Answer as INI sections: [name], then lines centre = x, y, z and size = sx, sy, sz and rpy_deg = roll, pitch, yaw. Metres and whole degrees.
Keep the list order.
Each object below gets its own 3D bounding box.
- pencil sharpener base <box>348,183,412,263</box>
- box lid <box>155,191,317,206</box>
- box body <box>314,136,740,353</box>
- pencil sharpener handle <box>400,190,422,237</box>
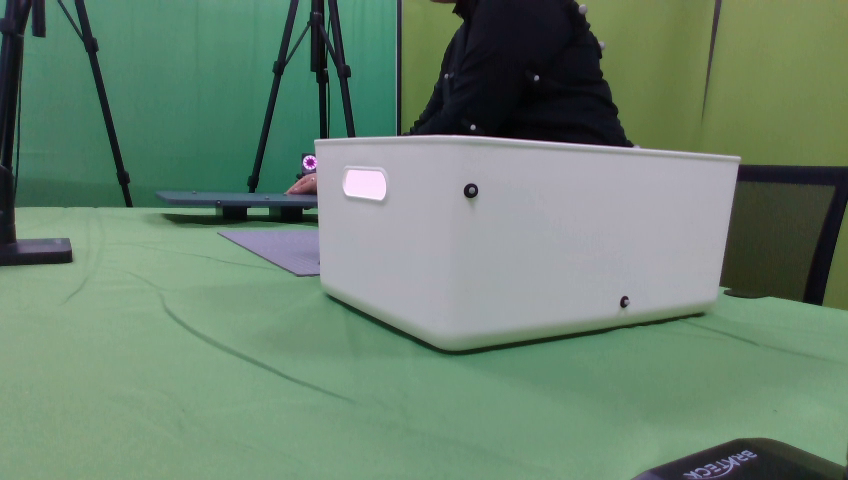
[pencil sharpener base]
centre = -0.059, -0.024, 0.845
size = 0.077, 0.107, 0.061
rpy_deg = -1, 7, -30
[box lid]
centre = -0.387, -0.091, 1.340
size = 0.373, 0.015, 0.262
rpy_deg = -1, 8, -30
[box body]
centre = 0.098, -0.012, 0.605
size = 0.366, 0.160, 0.253
rpy_deg = -2, 8, -33
[pencil sharpener handle]
centre = -0.015, -0.037, 0.872
size = 0.031, 0.067, 0.036
rpy_deg = -1, 15, -30
